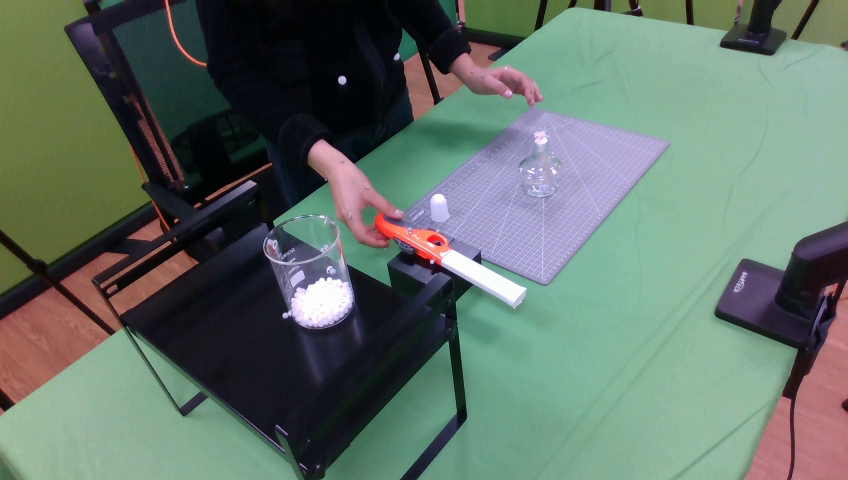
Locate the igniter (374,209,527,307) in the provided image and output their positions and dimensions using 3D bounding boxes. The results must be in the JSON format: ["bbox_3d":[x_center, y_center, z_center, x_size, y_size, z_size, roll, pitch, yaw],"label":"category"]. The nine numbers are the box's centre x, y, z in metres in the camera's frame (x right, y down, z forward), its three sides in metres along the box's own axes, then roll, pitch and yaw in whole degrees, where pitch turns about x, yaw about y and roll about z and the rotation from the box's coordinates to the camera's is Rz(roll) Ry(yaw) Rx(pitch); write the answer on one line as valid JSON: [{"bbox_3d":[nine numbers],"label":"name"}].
[{"bbox_3d":[0.026,0.019,0.873,0.274,0.025,0.057,29,52,31],"label":"igniter"}]

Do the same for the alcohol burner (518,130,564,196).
[{"bbox_3d":[0.199,-0.135,1.027,0.078,0.119,0.077,-5,42,5],"label":"alcohol burner"}]

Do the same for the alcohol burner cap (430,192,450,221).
[{"bbox_3d":[0.025,-0.059,1.019,0.034,0.048,0.033,-4,41,4],"label":"alcohol burner cap"}]

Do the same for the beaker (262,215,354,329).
[{"bbox_3d":[-0.112,0.034,0.616,0.073,0.101,0.084,13,44,23],"label":"beaker"}]
